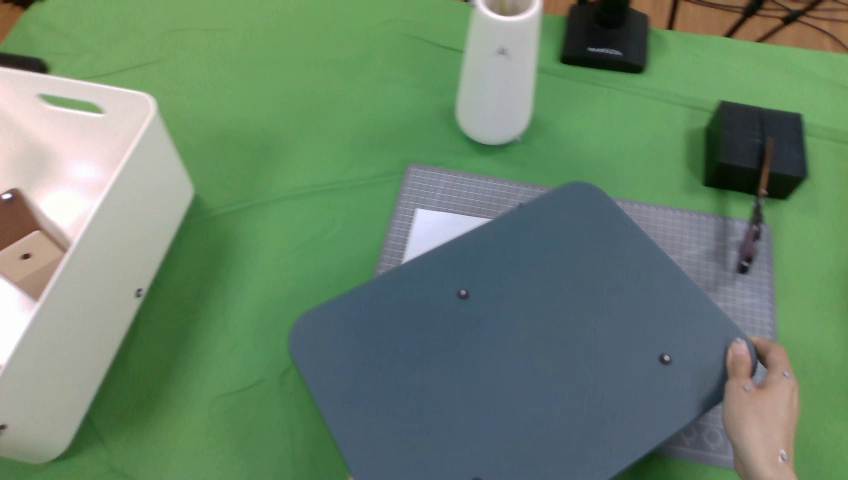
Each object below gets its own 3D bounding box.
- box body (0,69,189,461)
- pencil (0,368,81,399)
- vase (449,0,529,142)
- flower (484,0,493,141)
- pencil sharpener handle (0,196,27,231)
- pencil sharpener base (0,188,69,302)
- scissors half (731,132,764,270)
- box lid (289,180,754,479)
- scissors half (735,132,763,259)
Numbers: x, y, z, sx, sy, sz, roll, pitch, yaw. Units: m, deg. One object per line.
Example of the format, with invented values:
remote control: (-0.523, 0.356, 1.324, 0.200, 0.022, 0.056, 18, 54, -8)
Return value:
box body: (-0.437, 0.019, 0.622, 0.254, 0.161, 0.361, 10, 61, 6)
pencil: (-0.448, 0.138, 0.636, 0.194, 0.012, 0.012, 16, 62, 6)
vase: (0.078, -0.210, 0.726, 0.098, 0.201, 0.097, -1, 59, 2)
flower: (0.073, -0.263, 0.660, 0.044, 0.365, 0.038, 3, 43, 7)
pencil sharpener handle: (-0.465, -0.034, 0.663, 0.036, 0.068, 0.030, -38, 65, -14)
pencil sharpener base: (-0.433, 0.006, 0.653, 0.061, 0.108, 0.076, -36, 65, -18)
scissors half: (0.378, -0.047, 0.703, 0.012, 0.040, 0.174, 13, 79, 23)
box lid: (0.089, 0.098, 0.558, 0.372, 0.015, 0.260, -27, 62, -16)
scissors half: (0.372, -0.055, 0.685, 0.013, 0.040, 0.174, 14, 62, 18)
